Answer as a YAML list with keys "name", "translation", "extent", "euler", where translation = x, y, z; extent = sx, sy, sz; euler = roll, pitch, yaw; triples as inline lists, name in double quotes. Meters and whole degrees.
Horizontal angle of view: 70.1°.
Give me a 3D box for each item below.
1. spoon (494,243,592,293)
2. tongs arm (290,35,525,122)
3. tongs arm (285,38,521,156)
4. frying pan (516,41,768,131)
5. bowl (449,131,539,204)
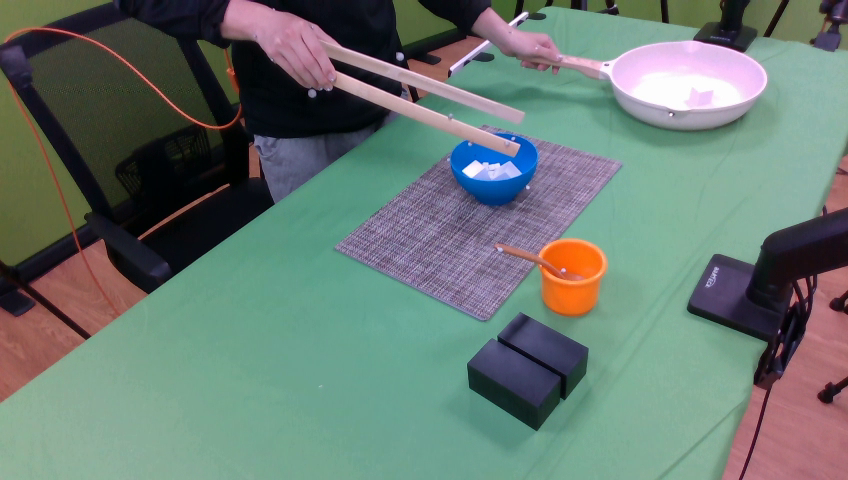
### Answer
- name: "spoon"
  translation: [0.161, 0.034, 0.808]
  extent: [0.021, 0.195, 0.041]
  euler: [-48, 40, 20]
- name: "tongs arm"
  translation: [-0.022, -0.254, 0.962]
  extent: [0.389, 0.028, 0.028]
  euler: [16, 51, -8]
- name: "tongs arm"
  translation: [-0.032, -0.217, 0.925]
  extent: [0.385, 0.026, 0.050]
  euler: [20, 48, -5]
- name: "frying pan"
  translation: [0.424, -0.338, 1.236]
  extent: [0.486, 0.103, 0.307]
  euler: [18, 45, 15]
- name: "bowl"
  translation: [0.120, -0.114, 1.034]
  extent: [0.151, 0.077, 0.150]
  euler: [-4, 41, 4]
